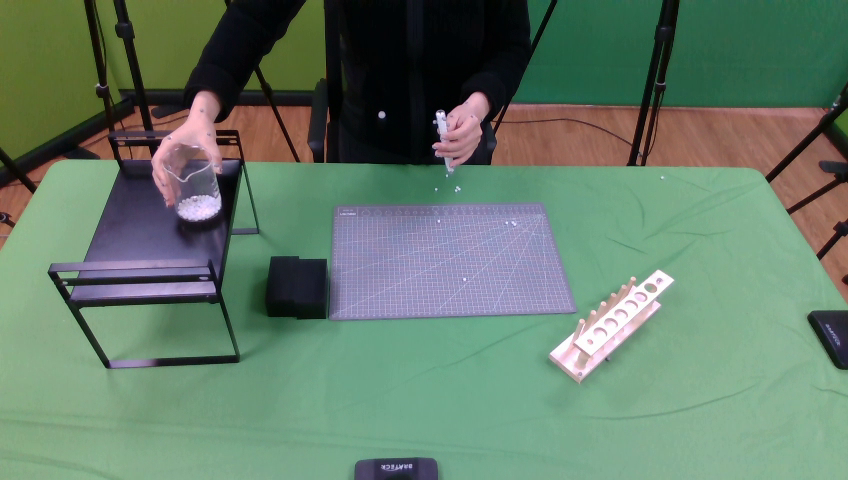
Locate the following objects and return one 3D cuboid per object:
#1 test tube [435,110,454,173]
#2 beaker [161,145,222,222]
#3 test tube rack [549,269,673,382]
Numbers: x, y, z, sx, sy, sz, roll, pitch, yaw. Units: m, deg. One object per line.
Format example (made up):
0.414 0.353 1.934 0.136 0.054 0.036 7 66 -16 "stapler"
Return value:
0.037 -0.167 1.045 0.017 0.151 0.017 -5 57 7 "test tube"
-0.357 -0.083 0.939 0.074 0.101 0.083 -2 44 -7 "beaker"
0.325 0.134 1.047 0.242 0.085 0.066 -32 56 -30 "test tube rack"
